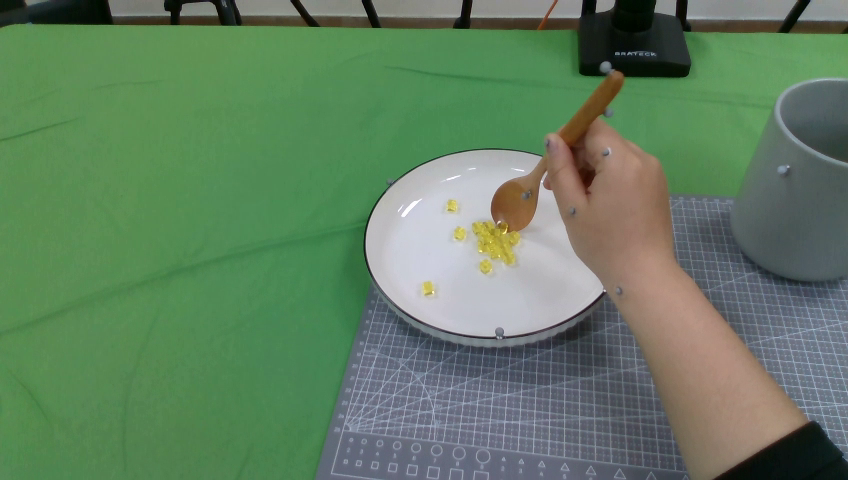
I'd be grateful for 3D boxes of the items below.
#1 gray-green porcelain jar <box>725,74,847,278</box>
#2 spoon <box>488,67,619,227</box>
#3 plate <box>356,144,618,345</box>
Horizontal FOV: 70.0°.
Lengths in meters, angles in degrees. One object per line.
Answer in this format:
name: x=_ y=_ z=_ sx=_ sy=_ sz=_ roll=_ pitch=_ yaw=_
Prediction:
gray-green porcelain jar: x=0.296 y=-0.042 z=0.458 sx=0.106 sy=0.128 sz=0.105 roll=-2 pitch=49 yaw=3
spoon: x=0.089 y=-0.059 z=0.442 sx=0.021 sy=0.194 sz=0.041 roll=-30 pitch=78 yaw=-22
plate: x=0.050 y=0.002 z=0.500 sx=0.207 sy=0.039 sz=0.205 roll=-2 pitch=49 yaw=3
